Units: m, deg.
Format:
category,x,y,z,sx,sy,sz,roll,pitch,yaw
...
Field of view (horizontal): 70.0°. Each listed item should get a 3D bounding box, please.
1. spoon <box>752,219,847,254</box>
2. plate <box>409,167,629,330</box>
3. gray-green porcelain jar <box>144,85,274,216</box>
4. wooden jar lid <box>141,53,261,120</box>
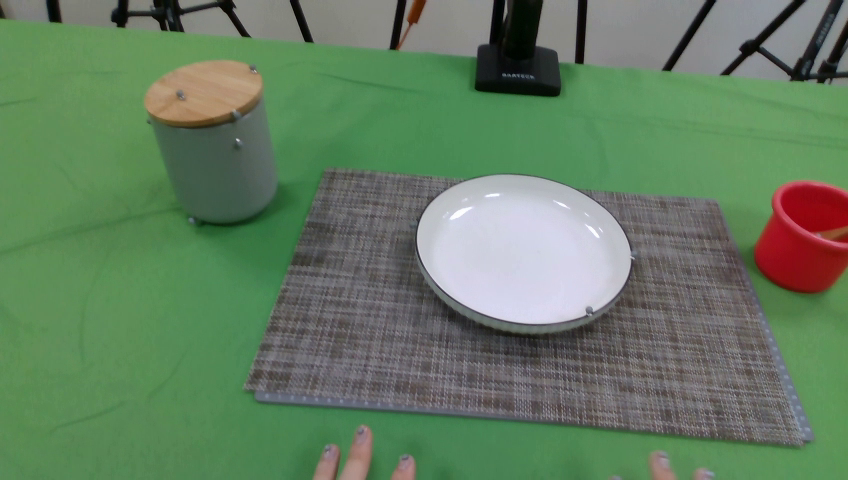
category,x,y,z,sx,sy,sz,roll,pitch,yaw
spoon,0.411,-0.017,0.563,0.193,0.022,0.041,-20,25,45
plate,0.089,0.007,0.588,0.208,0.039,0.205,2,45,-2
gray-green porcelain jar,-0.211,-0.096,0.614,0.106,0.127,0.105,2,45,-2
wooden jar lid,-0.207,-0.141,0.569,0.108,0.021,0.107,0,46,0
